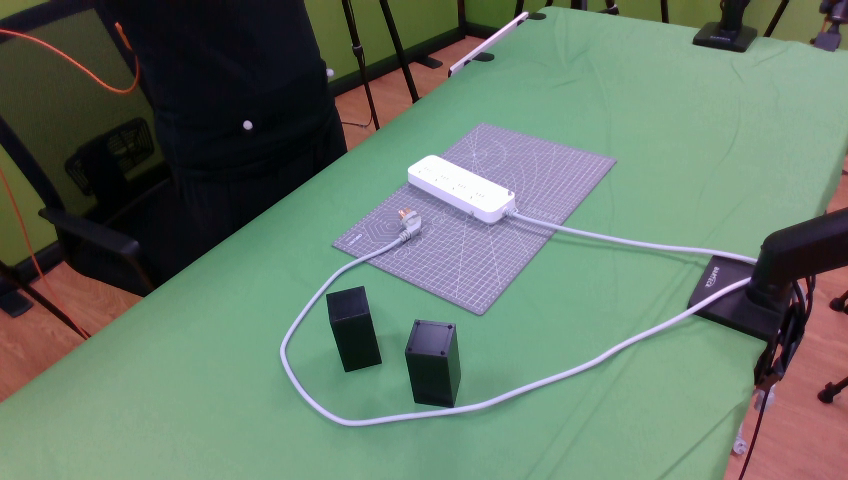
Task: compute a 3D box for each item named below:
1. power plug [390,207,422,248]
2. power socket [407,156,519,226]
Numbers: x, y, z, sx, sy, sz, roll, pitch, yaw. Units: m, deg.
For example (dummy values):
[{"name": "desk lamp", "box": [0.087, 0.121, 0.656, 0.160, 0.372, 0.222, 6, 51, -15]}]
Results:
[{"name": "power plug", "box": [-0.035, -0.026, 0.985, 0.073, 0.035, 0.052, -24, 61, -35]}, {"name": "power socket", "box": [0.062, -0.089, 1.053, 0.072, 0.033, 0.225, -36, 49, -29]}]
